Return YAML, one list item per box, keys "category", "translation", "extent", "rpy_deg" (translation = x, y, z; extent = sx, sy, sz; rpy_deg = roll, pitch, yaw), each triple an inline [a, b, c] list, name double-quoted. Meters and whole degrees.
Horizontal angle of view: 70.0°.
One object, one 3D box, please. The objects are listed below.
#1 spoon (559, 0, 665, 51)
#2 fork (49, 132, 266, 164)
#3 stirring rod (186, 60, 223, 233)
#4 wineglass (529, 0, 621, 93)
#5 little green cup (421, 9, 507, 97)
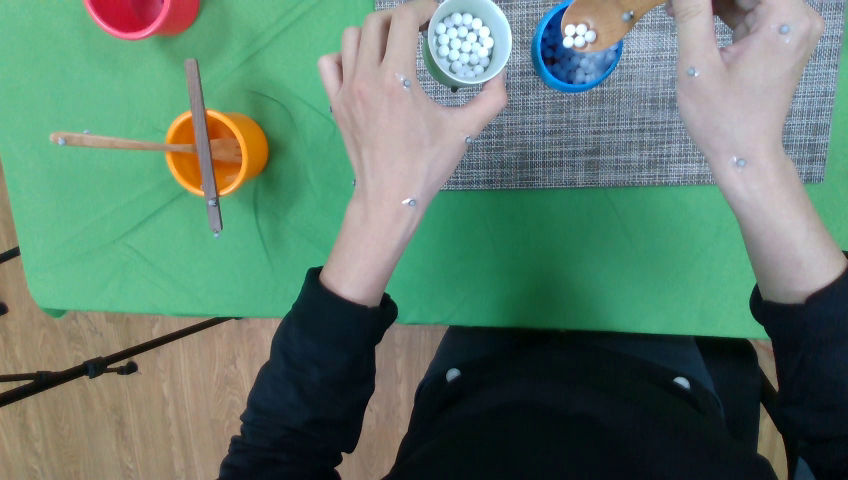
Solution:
- category: "spoon"
  translation: [0.153, -0.153, 0.367]
  extent: [0.021, 0.192, 0.042]
  rpy_deg: [-35, 107, -21]
- category: "fork"
  translation: [-0.268, -0.097, 0.630]
  extent: [0.208, 0.018, 0.028]
  rpy_deg: [-1, 118, -36]
- category: "stirring rod"
  translation: [-0.225, -0.093, 0.623]
  extent: [0.014, 0.006, 0.177]
  rpy_deg: [0, 105, 9]
- category: "wineglass"
  translation: [0.127, -0.167, 0.532]
  extent: [0.073, 0.171, 0.074]
  rpy_deg: [2, 105, 9]
- category: "little green cup"
  translation: [0.029, -0.140, 0.449]
  extent: [0.061, 0.038, 0.062]
  rpy_deg: [-1, 114, -1]
